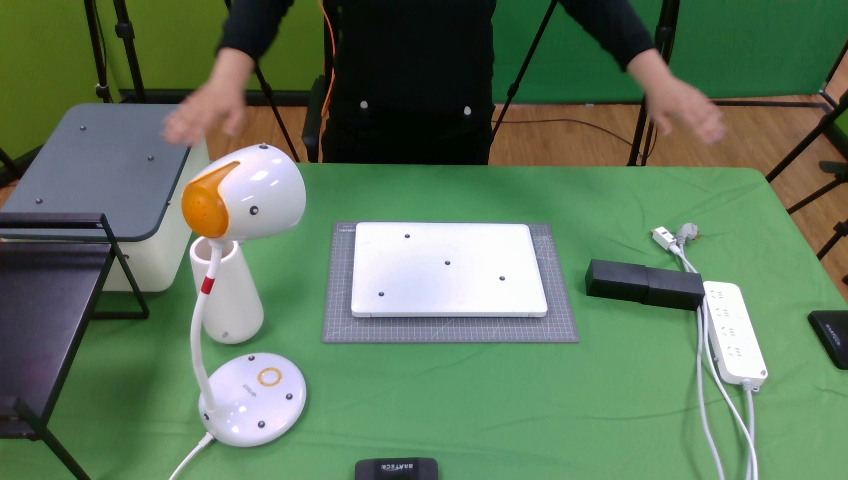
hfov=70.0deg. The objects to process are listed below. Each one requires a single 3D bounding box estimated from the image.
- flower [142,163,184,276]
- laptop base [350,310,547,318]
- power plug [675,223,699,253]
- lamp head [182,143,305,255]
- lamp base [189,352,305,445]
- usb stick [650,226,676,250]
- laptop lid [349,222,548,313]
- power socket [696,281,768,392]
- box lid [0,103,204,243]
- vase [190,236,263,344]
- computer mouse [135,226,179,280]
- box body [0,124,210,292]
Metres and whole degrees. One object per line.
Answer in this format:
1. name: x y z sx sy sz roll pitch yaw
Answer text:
1. flower: -0.493 -0.056 1.172 0.038 0.044 0.359 36 23 -32
2. laptop base: 0.041 0.056 1.149 0.355 0.023 0.234 0 43 -4
3. power plug: 0.538 0.000 1.243 0.053 0.035 0.072 18 81 -16
4. lamp head: -0.216 -0.044 0.697 0.112 0.113 0.123 23 31 17
5. lamp base: -0.268 0.197 0.876 0.160 0.181 0.179 25 52 20
6. usb stick: 0.485 -0.008 1.238 0.021 0.027 0.059 -22 44 -13
7. laptop lid: 0.042 0.046 1.142 0.357 0.013 0.240 2 44 -3
8. power socket: 0.543 0.161 1.077 0.072 0.033 0.225 6 46 2
9. box lid: -0.563 -0.132 1.079 0.263 0.015 0.369 1 46 -3
10. vase: -0.317 0.081 0.971 0.098 0.201 0.097 3 47 -3
11. computer mouse: -0.493 0.020 1.118 0.063 0.041 0.116 1 53 -10
12. box body: -0.567 -0.082 1.133 0.254 0.161 0.361 2 46 -3
